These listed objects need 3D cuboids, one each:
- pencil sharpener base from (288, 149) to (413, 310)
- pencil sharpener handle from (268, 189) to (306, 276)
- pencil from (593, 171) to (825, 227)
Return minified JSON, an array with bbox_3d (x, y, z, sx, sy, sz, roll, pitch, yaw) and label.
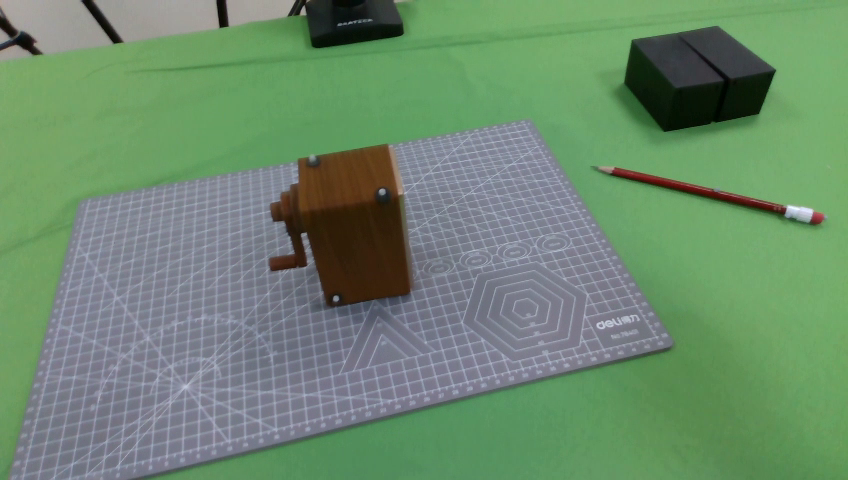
[{"bbox_3d":[-0.053,-0.005,0.453,0.077,0.108,0.060,-10,45,-5],"label":"pencil sharpener base"},{"bbox_3d":[-0.103,-0.003,0.437,0.031,0.068,0.035,-10,34,-5],"label":"pencil sharpener handle"},{"bbox_3d":[0.246,-0.040,0.539,0.193,0.012,0.012,16,48,22],"label":"pencil"}]
